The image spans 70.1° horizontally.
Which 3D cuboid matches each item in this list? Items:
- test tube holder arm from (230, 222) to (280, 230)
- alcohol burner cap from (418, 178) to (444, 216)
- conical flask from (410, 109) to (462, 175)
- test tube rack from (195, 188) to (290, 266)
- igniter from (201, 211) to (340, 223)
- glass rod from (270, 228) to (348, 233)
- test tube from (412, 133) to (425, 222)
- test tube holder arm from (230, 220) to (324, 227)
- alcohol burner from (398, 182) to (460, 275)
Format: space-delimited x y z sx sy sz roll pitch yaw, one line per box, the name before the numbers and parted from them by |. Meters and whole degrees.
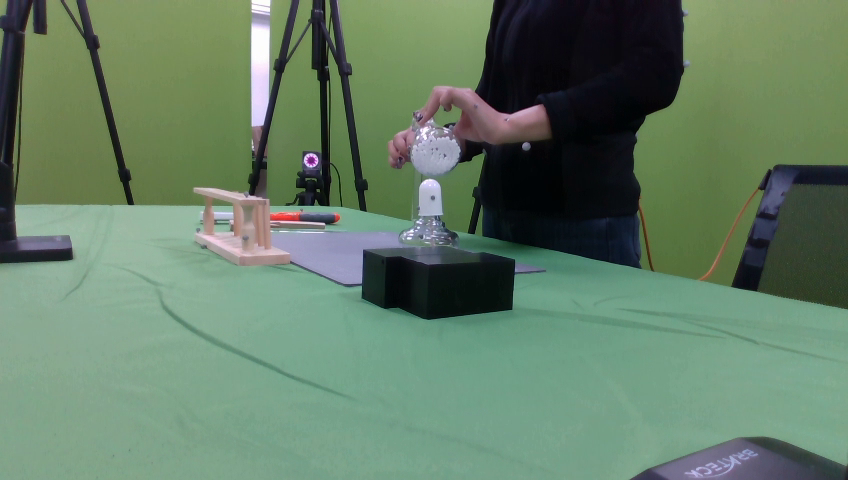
test tube holder arm | -0.312 -0.025 1.118 0.088 0.015 0.010 -1 44 -30
alcohol burner cap | 0.007 -0.053 0.745 0.034 0.048 0.034 -3 6 1
conical flask | 0.009 -0.153 0.894 0.075 0.075 0.121 0 34 -12
test tube rack | -0.266 -0.025 0.864 0.067 0.085 0.241 -2 9 -33
igniter | -0.311 -0.047 1.243 0.278 0.025 0.057 -1 -2 -24
glass rod | -0.234 -0.017 1.105 0.201 0.008 0.008 1 7 -26
test tube | -0.010 -0.100 0.986 0.017 0.150 0.017 3 23 -1
test tube holder arm | -0.275 -0.030 1.145 0.179 0.015 0.013 -2 45 -31
alcohol burner | 0.007 -0.017 0.751 0.078 0.119 0.078 3 10 0
